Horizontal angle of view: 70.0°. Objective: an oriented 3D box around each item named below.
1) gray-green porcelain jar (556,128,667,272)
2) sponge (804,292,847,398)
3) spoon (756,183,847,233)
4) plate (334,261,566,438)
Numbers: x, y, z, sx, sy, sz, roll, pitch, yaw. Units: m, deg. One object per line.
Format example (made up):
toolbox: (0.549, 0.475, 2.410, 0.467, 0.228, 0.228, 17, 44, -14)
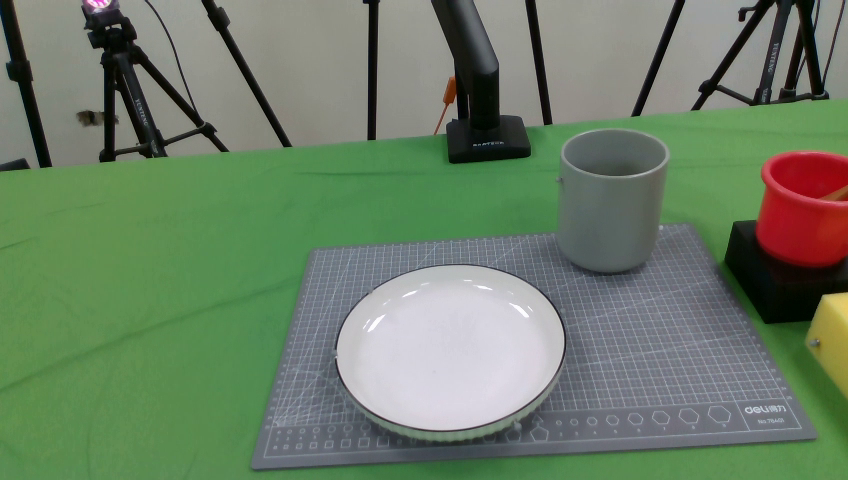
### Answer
gray-green porcelain jar: (0.193, -0.038, 0.640, 0.106, 0.127, 0.105, -4, 36, 4)
sponge: (0.404, 0.122, 0.449, 0.118, 0.061, 0.204, -7, 35, 0)
spoon: (0.390, -0.051, 0.531, 0.194, 0.022, 0.041, -36, 14, 44)
plate: (0.024, 0.097, 0.556, 0.207, 0.039, 0.205, -4, 36, 3)
